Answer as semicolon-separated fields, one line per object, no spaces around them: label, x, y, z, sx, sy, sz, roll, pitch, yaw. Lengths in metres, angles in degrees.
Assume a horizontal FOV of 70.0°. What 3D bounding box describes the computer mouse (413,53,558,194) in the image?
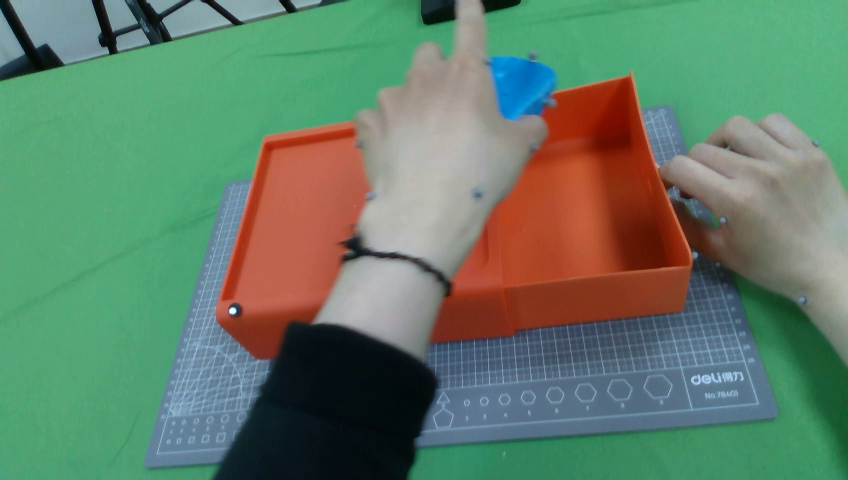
computer mouse;0.041;-0.085;0.406;0.062;0.041;0.117;18;64;29

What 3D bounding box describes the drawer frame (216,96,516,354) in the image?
drawer frame;-0.037;-0.017;0.497;0.213;0.083;0.199;-8;53;12

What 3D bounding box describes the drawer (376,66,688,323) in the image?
drawer;0.075;-0.033;0.477;0.211;0.074;0.192;-8;53;11
